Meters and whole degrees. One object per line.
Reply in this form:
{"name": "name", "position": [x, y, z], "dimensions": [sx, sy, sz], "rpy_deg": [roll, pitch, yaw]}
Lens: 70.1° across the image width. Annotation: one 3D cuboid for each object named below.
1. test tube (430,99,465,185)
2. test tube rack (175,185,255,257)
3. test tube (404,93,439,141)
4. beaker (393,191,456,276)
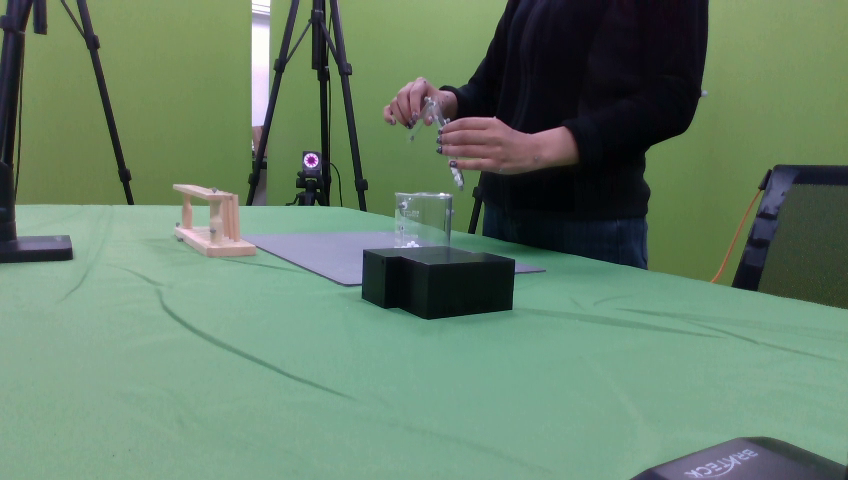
{"name": "test tube", "position": [0.035, -0.147, 0.900], "dimensions": [0.017, 0.150, 0.017], "rpy_deg": [-14, -23, -5]}
{"name": "test tube rack", "position": [-0.324, -0.035, 0.922], "dimensions": [0.067, 0.085, 0.241], "rpy_deg": [-2, 9, -31]}
{"name": "test tube", "position": [-0.006, -0.199, 0.991], "dimensions": [0.017, 0.017, 0.150], "rpy_deg": [-1, -15, -19]}
{"name": "beaker", "position": [-0.003, -0.010, 0.749], "dimensions": [0.074, 0.100, 0.083], "rpy_deg": [-3, 8, -40]}
